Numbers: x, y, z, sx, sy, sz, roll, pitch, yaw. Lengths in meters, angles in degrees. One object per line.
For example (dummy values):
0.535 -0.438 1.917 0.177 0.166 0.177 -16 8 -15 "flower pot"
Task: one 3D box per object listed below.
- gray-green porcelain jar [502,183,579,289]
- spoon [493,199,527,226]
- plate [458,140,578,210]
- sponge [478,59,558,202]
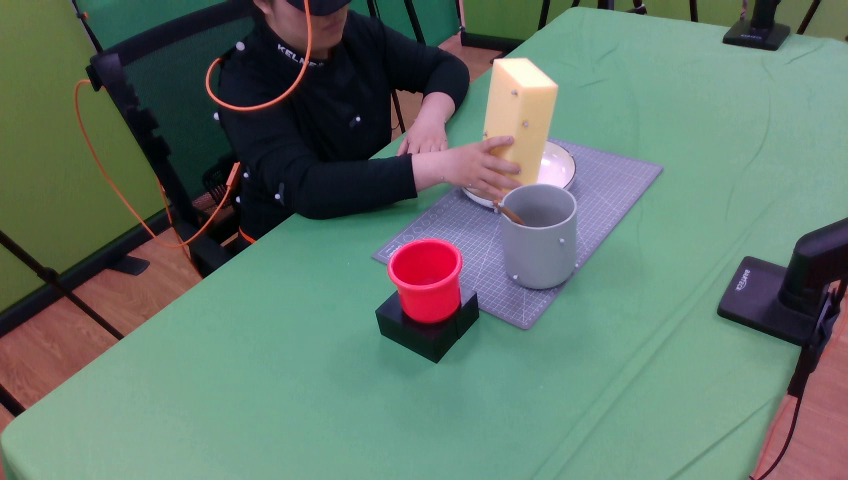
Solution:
0.167 -0.001 0.866 0.106 0.127 0.105 -5 40 5 "gray-green porcelain jar"
0.135 -0.016 0.831 0.021 0.195 0.041 -49 53 -1 "spoon"
0.166 -0.113 1.068 0.207 0.039 0.206 -5 40 5 "plate"
0.149 -0.178 0.999 0.061 0.207 0.117 -6 36 -17 "sponge"
